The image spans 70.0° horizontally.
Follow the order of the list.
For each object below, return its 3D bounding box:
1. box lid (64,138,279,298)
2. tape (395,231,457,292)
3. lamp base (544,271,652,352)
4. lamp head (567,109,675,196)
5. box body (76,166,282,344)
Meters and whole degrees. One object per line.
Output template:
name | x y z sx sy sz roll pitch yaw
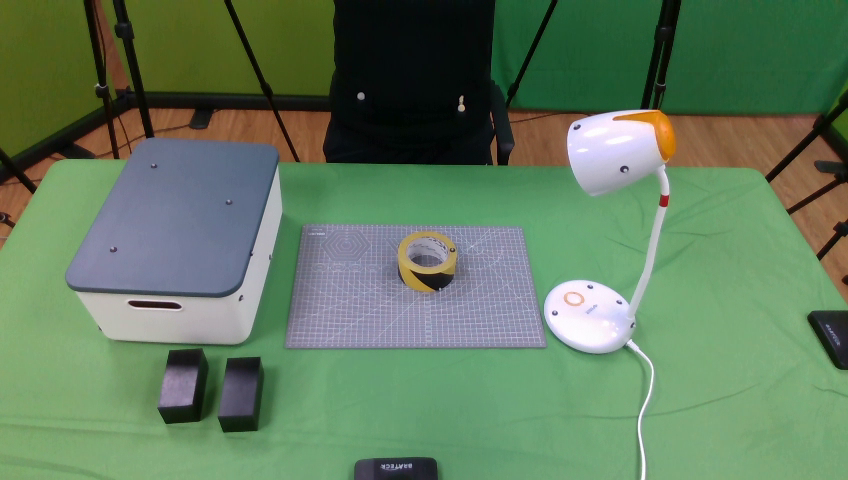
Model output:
box lid | -0.404 -0.051 1.016 0.263 0.015 0.369 3 46 -2
tape | 0.005 0.039 1.136 0.117 0.053 0.116 2 46 -1
lamp base | 0.310 0.086 1.029 0.178 0.181 0.160 32 52 21
lamp head | 0.272 -0.123 0.818 0.122 0.113 0.112 -9 35 37
box body | -0.406 -0.002 1.071 0.254 0.161 0.361 2 46 -2
